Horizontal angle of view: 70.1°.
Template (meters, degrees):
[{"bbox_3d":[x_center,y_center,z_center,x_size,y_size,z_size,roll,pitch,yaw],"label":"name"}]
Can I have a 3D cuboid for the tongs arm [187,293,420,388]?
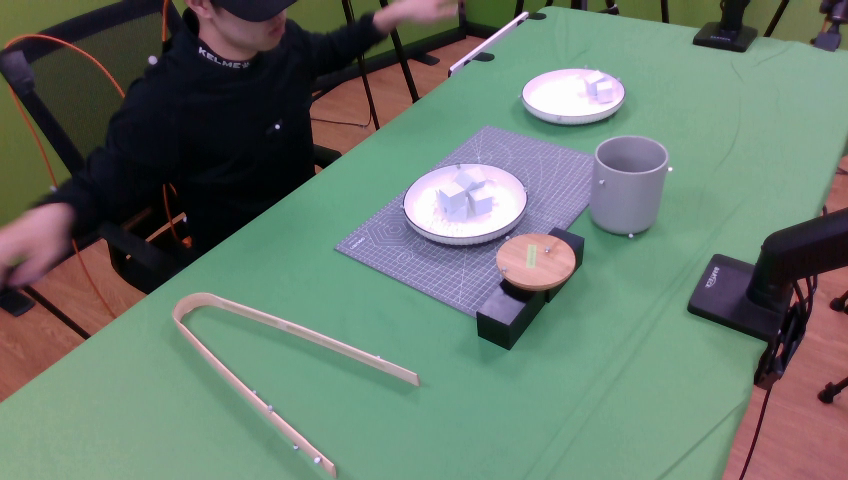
[{"bbox_3d":[-0.176,0.134,0.835,0.385,0.028,0.028,15,47,24],"label":"tongs arm"}]

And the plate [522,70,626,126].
[{"bbox_3d":[0.308,-0.290,1.251,0.207,0.039,0.206,-4,40,4],"label":"plate"}]

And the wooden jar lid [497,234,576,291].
[{"bbox_3d":[0.155,0.032,0.834,0.108,0.021,0.108,-5,40,5],"label":"wooden jar lid"}]

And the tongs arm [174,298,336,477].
[{"bbox_3d":[-0.226,0.176,0.785,0.381,0.026,0.051,26,49,34],"label":"tongs arm"}]

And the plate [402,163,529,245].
[{"bbox_3d":[0.069,-0.056,1.008,0.209,0.038,0.208,-4,40,4],"label":"plate"}]

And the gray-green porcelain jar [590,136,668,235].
[{"bbox_3d":[0.314,-0.080,0.937,0.106,0.127,0.105,-4,41,4],"label":"gray-green porcelain jar"}]
